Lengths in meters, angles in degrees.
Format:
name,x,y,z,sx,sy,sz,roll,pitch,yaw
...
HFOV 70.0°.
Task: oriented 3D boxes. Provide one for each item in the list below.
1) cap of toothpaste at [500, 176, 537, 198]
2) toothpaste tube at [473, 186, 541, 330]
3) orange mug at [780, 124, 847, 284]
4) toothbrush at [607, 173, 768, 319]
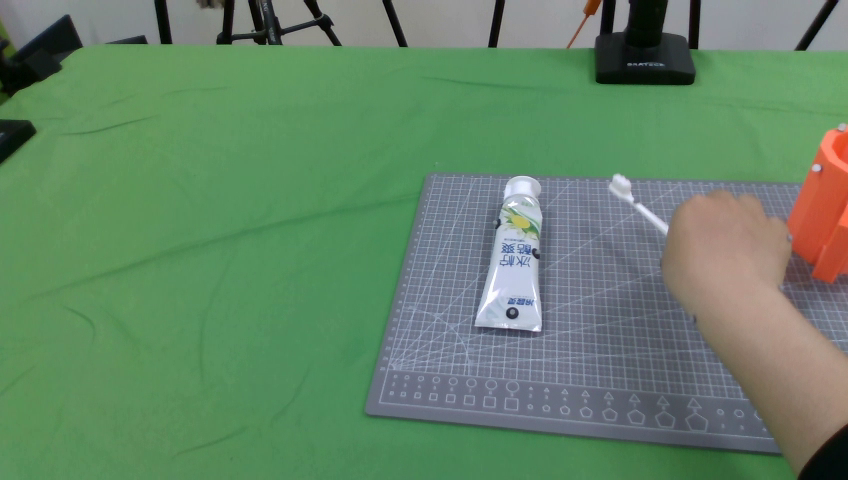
name,x,y,z,sx,sy,sz,roll,pitch,yaw
cap of toothpaste,0.092,-0.047,0.591,0.037,0.038,0.011,6,51,12
toothpaste tube,0.078,0.010,0.542,0.055,0.035,0.163,-1,47,13
orange mug,0.350,-0.025,0.497,0.083,0.102,0.126,25,47,29
toothbrush,0.211,-0.001,0.499,0.014,0.017,0.179,-14,45,-21
